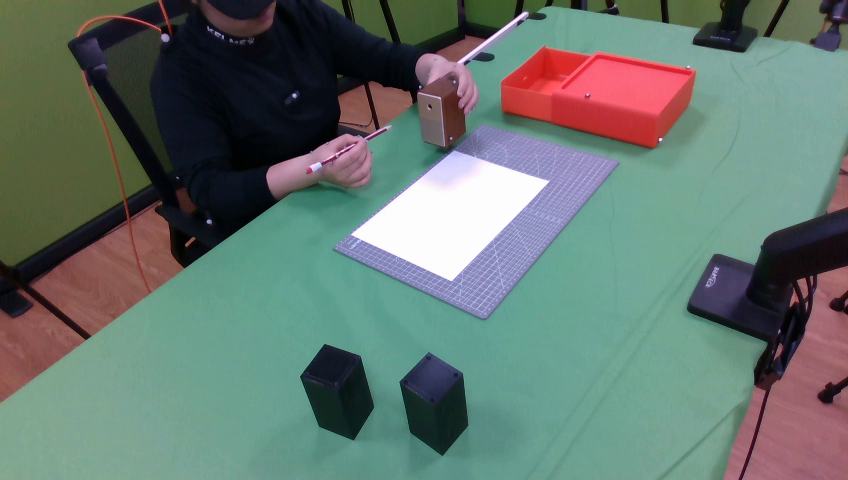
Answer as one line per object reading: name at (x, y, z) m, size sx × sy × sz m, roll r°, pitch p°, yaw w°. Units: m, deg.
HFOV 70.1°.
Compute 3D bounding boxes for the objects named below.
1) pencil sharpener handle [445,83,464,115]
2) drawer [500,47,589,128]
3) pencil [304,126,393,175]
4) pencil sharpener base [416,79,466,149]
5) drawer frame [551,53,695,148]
pencil sharpener handle at (0.064, -0.276, 1.166) m, size 0.035 × 0.068 × 0.031 m, roll 23°, pitch 46°, yaw 29°
drawer at (0.296, -0.316, 1.255) m, size 0.210 × 0.073 × 0.195 m, roll 22°, pitch 47°, yaw 29°
pencil at (-0.127, -0.159, 1.051) m, size 0.195 × 0.012 × 0.012 m, roll -35°, pitch 47°, yaw -29°
pencil sharpener base at (0.035, -0.239, 1.141) m, size 0.061 × 0.107 × 0.077 m, roll 20°, pitch 45°, yaw 32°
drawer frame at (0.390, -0.281, 1.196) m, size 0.212 × 0.083 × 0.202 m, roll 22°, pitch 48°, yaw 29°
